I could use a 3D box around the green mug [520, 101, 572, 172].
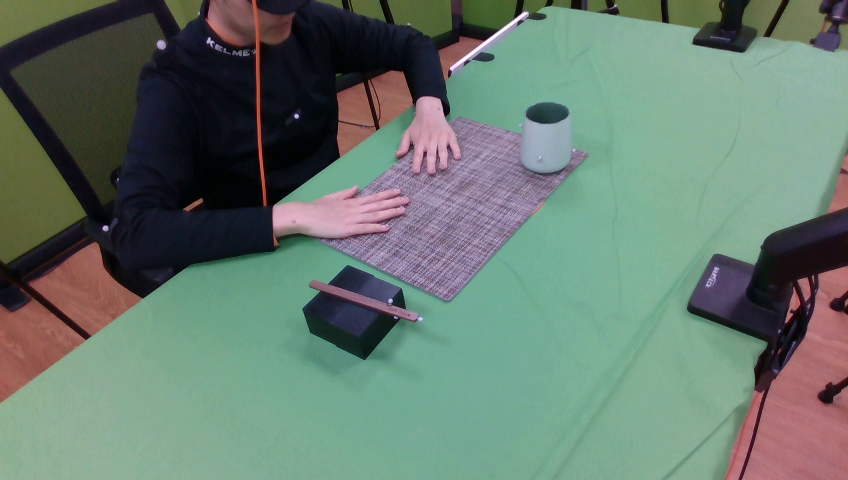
[{"bbox_3d":[0.220,-0.194,1.093,0.092,0.105,0.125,-2,41,7],"label":"green mug"}]

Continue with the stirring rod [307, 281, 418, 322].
[{"bbox_3d":[-0.086,0.083,0.822,0.175,0.006,0.014,14,47,24],"label":"stirring rod"}]
